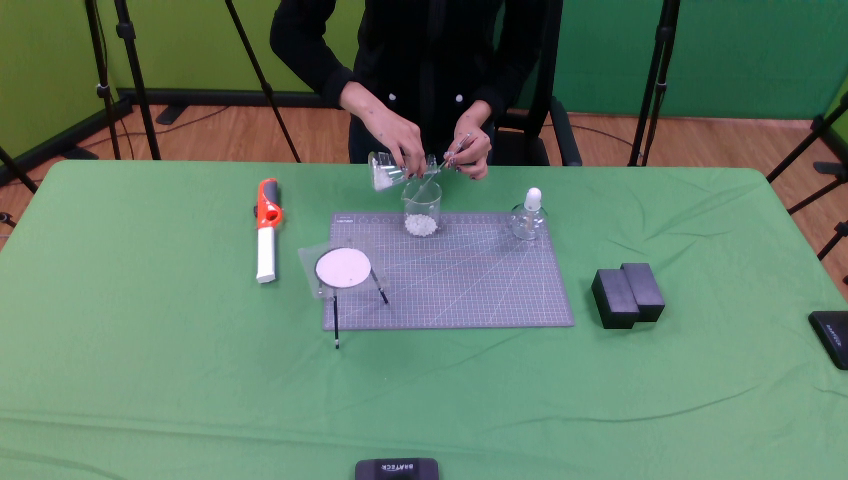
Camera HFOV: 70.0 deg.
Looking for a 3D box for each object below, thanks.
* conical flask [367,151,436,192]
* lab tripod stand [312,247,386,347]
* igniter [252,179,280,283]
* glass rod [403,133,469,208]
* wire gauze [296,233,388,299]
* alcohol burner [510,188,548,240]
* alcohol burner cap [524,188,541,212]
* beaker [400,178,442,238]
[{"bbox_3d":[-0.040,-0.133,1.112,0.122,0.076,0.075,-9,47,-9],"label":"conical flask"},{"bbox_3d":[-0.134,0.085,1.028,0.148,0.132,0.147,2,45,-1],"label":"lab tripod stand"},{"bbox_3d":[-0.312,-0.027,1.197,0.057,0.025,0.274,-12,47,-2],"label":"igniter"},{"bbox_3d":[0.020,-0.129,1.138,0.008,0.200,0.008,31,31,-21],"label":"glass rod"},{"bbox_3d":[-0.133,0.041,0.977,0.125,0.011,0.120,-12,47,-16],"label":"wire gauze"},{"bbox_3d":[0.211,-0.057,1.204,0.078,0.120,0.077,1,47,-1],"label":"alcohol burner"},{"bbox_3d":[0.212,-0.081,1.177,0.034,0.048,0.033,-2,54,3],"label":"alcohol burner cap"},{"bbox_3d":[-0.009,-0.059,1.200,0.084,0.101,0.073,-14,48,-17],"label":"beaker"}]
